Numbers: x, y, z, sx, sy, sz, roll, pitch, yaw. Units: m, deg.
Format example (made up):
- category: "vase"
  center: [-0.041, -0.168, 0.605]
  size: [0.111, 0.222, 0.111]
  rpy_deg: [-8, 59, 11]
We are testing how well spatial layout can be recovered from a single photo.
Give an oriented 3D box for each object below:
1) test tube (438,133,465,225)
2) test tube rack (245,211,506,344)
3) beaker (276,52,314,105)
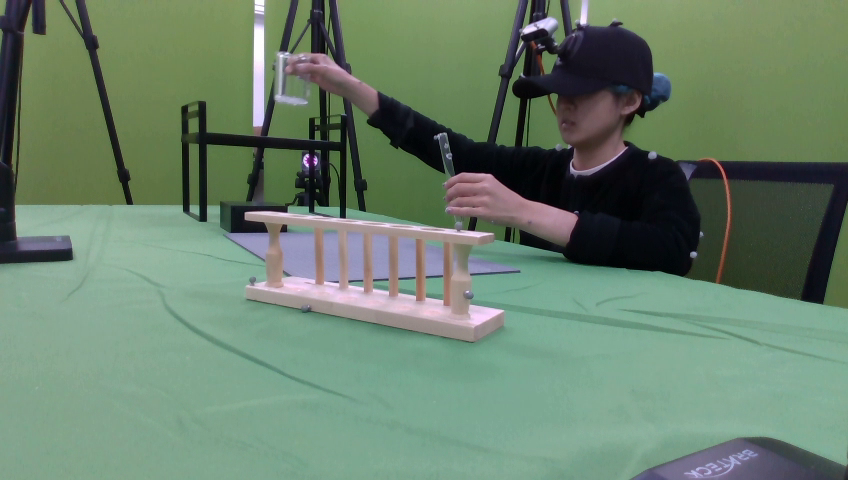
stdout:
- category: "test tube"
  center: [0.045, -0.098, 0.970]
  size: [0.017, 0.150, 0.017]
  rpy_deg: [-12, 2, 1]
- category: "test tube rack"
  center: [-0.049, 0.025, 0.547]
  size: [0.241, 0.085, 0.067]
  rpy_deg: [7, 8, 28]
- category: "beaker"
  center: [-0.266, -0.330, 1.244]
  size: [0.074, 0.100, 0.083]
  rpy_deg: [1, 12, -22]
